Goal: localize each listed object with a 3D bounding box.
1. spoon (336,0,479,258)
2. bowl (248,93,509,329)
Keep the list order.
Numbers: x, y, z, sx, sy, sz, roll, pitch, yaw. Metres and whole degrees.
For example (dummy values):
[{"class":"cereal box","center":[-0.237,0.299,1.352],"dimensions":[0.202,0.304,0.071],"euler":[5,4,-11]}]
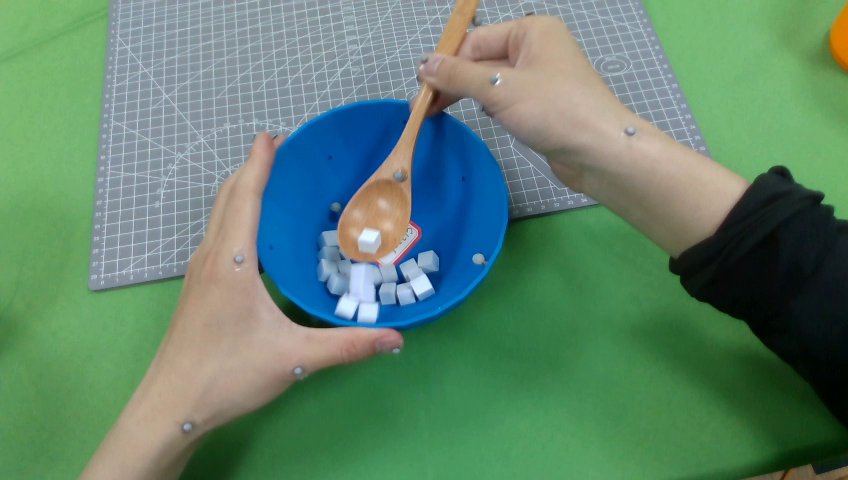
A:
[{"class":"spoon","center":[-0.001,-0.079,0.359],"dimensions":[0.041,0.022,0.193],"euler":[23,89,13]},{"class":"bowl","center":[-0.025,-0.008,0.384],"dimensions":[0.151,0.077,0.150],"euler":[0,67,1]}]
